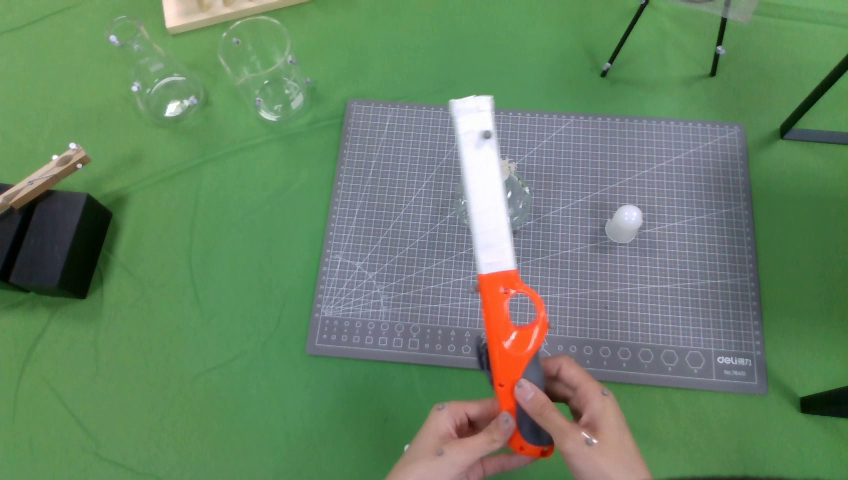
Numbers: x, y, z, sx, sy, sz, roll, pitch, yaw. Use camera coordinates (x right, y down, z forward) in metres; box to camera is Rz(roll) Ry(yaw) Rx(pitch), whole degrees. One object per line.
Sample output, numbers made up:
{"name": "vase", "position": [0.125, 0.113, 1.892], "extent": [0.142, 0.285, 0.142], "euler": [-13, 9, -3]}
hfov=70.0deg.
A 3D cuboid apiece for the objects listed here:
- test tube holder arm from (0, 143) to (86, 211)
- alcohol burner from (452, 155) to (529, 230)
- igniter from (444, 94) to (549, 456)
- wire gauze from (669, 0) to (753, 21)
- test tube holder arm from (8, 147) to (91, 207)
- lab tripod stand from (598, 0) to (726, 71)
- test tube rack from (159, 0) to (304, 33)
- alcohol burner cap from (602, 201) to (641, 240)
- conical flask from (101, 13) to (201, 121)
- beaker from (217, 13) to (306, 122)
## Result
{"name": "test tube holder arm", "position": [-0.423, -0.041, 0.612], "extent": [0.178, 0.015, 0.013], "euler": [-38, 73, -12]}
{"name": "alcohol burner", "position": [0.067, -0.050, 0.598], "extent": [0.078, 0.120, 0.077], "euler": [0, 69, 0]}
{"name": "igniter", "position": [0.054, 0.032, 0.452], "extent": [0.057, 0.025, 0.277], "euler": [-10, 96, 0]}
{"name": "wire gauze", "position": [0.273, -0.278, 0.595], "extent": [0.121, 0.011, 0.124], "euler": [25, 74, 9]}
{"name": "test tube holder arm", "position": [-0.385, -0.064, 0.620], "extent": [0.088, 0.015, 0.010], "euler": [-37, 73, -12]}
{"name": "lab tripod stand", "position": [0.268, -0.253, 0.658], "extent": [0.148, 0.132, 0.147], "euler": [0, 69, 0]}
{"name": "test tube rack", "position": [-0.210, -0.330, 0.727], "extent": [0.242, 0.086, 0.066], "euler": [-16, 70, -4]}
{"name": "alcohol burner cap", "position": [0.205, -0.023, 0.622], "extent": [0.034, 0.048, 0.033], "euler": [0, 70, 1]}
{"name": "conical flask", "position": [-0.301, -0.191, 0.659], "extent": [0.075, 0.122, 0.075], "euler": [-1, 69, 2]}
{"name": "beaker", "position": [-0.175, -0.181, 0.664], "extent": [0.074, 0.101, 0.083], "euler": [19, 72, 10]}
